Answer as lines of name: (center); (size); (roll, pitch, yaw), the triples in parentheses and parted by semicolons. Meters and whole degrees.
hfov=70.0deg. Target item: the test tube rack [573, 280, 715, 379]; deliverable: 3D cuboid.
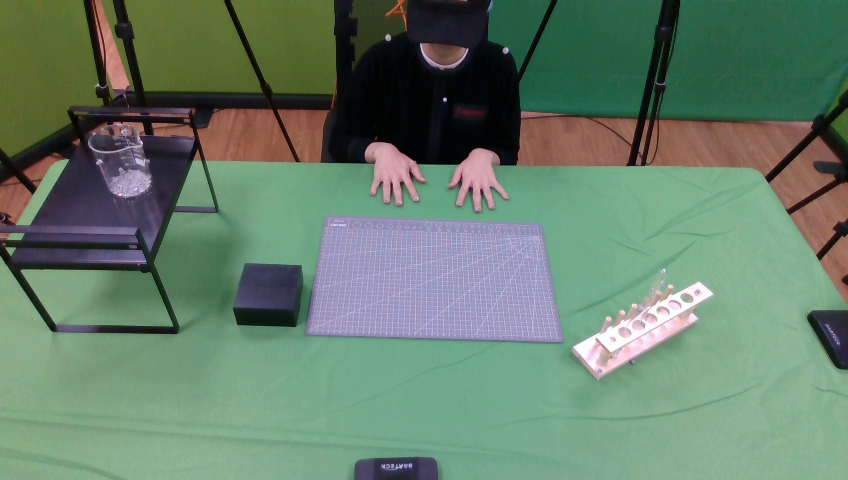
test tube rack: (0.378, 0.140, 1.038); (0.242, 0.085, 0.066); (-22, 51, -23)

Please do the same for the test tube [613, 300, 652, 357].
test tube: (0.328, 0.144, 0.962); (0.017, 0.151, 0.017); (3, 49, -4)

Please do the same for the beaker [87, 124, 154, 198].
beaker: (-0.482, -0.124, 0.978); (0.084, 0.101, 0.073); (9, 46, 4)

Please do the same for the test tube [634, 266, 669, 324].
test tube: (0.382, 0.095, 1.020); (0.017, 0.151, 0.017); (2, 48, -2)
